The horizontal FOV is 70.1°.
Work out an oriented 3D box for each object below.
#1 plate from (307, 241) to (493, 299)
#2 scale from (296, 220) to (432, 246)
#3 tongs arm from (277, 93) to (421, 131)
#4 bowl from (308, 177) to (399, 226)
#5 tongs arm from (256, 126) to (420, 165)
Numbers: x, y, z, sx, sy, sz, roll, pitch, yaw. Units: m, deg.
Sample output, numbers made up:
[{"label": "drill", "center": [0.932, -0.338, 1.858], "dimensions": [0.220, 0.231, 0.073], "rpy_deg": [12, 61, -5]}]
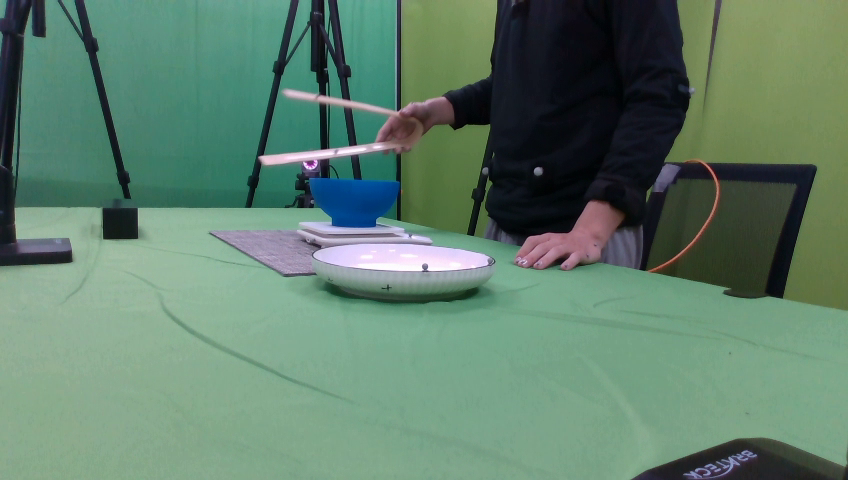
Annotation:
[{"label": "plate", "center": [-0.027, 0.034, 0.684], "dimensions": [0.208, 0.039, 0.207], "rpy_deg": [2, 7, 0]}, {"label": "scale", "center": [-0.101, -0.012, 1.017], "dimensions": [0.202, 0.031, 0.148], "rpy_deg": [-1, 8, -30]}, {"label": "tongs arm", "center": [-0.129, -0.252, 1.192], "dimensions": [0.027, 0.028, 0.390], "rpy_deg": [42, 26, 29]}, {"label": "bowl", "center": [-0.117, -0.064, 1.001], "dimensions": [0.151, 0.077, 0.151], "rpy_deg": [2, 6, 0]}, {"label": "tongs arm", "center": [-0.160, -0.196, 1.232], "dimensions": [0.387, 0.050, 0.026], "rpy_deg": [-14, 50, -44]}]
